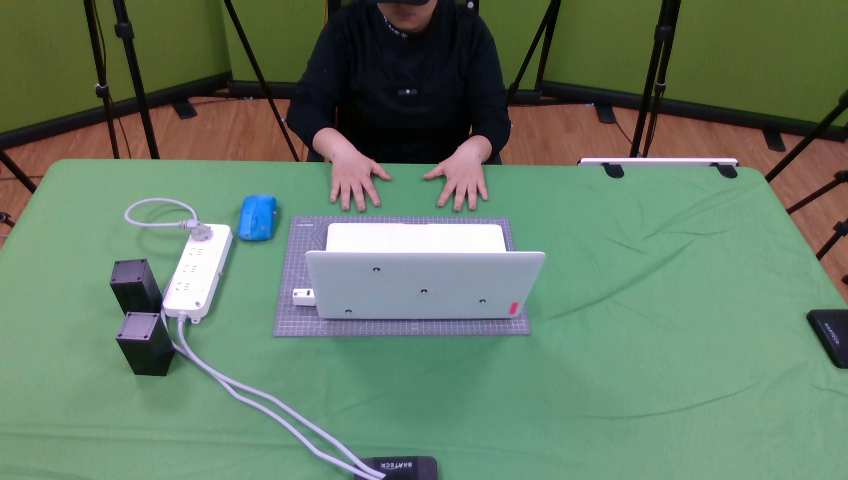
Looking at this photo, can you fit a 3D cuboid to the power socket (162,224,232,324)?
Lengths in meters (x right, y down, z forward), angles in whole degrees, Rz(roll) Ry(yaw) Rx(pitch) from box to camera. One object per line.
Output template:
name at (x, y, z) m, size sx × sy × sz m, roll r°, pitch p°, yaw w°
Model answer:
power socket at (-0.411, 0.052, 1.107) m, size 0.072 × 0.033 × 0.225 m, roll 3°, pitch 45°, yaw -1°

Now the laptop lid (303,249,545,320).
laptop lid at (-0.003, 0.076, 0.962) m, size 0.357 × 0.242 × 0.013 m, roll 1°, pitch 58°, yaw -5°

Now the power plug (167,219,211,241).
power plug at (-0.438, -0.017, 1.143) m, size 0.072 × 0.053 × 0.035 m, roll 10°, pitch 43°, yaw 7°

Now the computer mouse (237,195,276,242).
computer mouse at (-0.333, -0.047, 1.207) m, size 0.063 × 0.041 × 0.116 m, roll 3°, pitch 51°, yaw -5°

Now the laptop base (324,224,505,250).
laptop base at (-0.014, 0.055, 1.144) m, size 0.355 × 0.023 × 0.234 m, roll 0°, pitch 42°, yaw -4°

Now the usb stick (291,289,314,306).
usb stick at (-0.203, 0.101, 1.067) m, size 0.059 × 0.027 × 0.021 m, roll 4°, pitch 46°, yaw -5°
